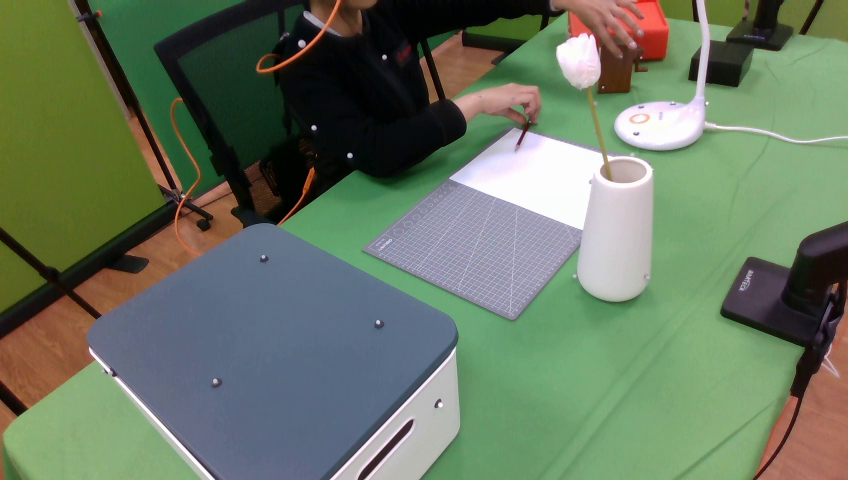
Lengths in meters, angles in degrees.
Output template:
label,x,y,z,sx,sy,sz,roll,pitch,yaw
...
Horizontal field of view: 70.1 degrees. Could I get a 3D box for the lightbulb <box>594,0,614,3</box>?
label,x,y,z,sx,sy,sz,roll,pitch,yaw
lightbulb,0.305,-0.437,0.977,0.060,0.107,0.059,12,45,-11

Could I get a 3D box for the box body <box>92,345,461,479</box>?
label,x,y,z,sx,sy,sz,roll,pitch,yaw
box body,-0.162,0.170,0.708,0.361,0.161,0.255,25,50,34

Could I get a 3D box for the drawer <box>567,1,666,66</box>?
label,x,y,z,sx,sy,sz,roll,pitch,yaw
drawer,0.448,-0.495,1.439,0.211,0.073,0.194,-1,40,11

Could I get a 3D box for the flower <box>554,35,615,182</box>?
label,x,y,z,sx,sy,sz,roll,pitch,yaw
flower,0.237,-0.083,0.774,0.044,0.363,0.038,-23,26,6

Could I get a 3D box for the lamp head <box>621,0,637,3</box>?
label,x,y,z,sx,sy,sz,roll,pitch,yaw
lamp head,0.319,-0.453,0.962,0.113,0.123,0.112,20,33,-13

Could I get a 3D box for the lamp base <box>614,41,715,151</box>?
label,x,y,z,sx,sy,sz,roll,pitch,yaw
lamp base,0.449,-0.277,1.106,0.179,0.181,0.160,1,41,9

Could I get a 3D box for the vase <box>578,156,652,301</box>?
label,x,y,z,sx,sy,sz,roll,pitch,yaw
vase,0.261,-0.011,0.812,0.098,0.201,0.097,-5,40,4

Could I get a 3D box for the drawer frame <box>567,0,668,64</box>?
label,x,y,z,sx,sy,sz,roll,pitch,yaw
drawer frame,0.450,-0.496,1.441,0.213,0.083,0.201,-1,40,9

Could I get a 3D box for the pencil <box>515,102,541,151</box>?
label,x,y,z,sx,sy,sz,roll,pitch,yaw
pencil,0.211,-0.231,1.228,0.012,0.012,0.194,9,42,21

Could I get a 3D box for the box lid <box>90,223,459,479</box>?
label,x,y,z,sx,sy,sz,roll,pitch,yaw
box lid,-0.174,0.102,0.666,0.368,0.015,0.264,24,48,35

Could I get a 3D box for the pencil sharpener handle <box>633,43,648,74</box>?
label,x,y,z,sx,sy,sz,roll,pitch,yaw
pencil sharpener handle,0.454,-0.378,1.262,0.030,0.068,0.036,1,46,13

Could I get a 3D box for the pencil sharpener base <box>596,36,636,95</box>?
label,x,y,z,sx,sy,sz,roll,pitch,yaw
pencil sharpener base,0.405,-0.369,1.280,0.076,0.107,0.061,1,41,13
